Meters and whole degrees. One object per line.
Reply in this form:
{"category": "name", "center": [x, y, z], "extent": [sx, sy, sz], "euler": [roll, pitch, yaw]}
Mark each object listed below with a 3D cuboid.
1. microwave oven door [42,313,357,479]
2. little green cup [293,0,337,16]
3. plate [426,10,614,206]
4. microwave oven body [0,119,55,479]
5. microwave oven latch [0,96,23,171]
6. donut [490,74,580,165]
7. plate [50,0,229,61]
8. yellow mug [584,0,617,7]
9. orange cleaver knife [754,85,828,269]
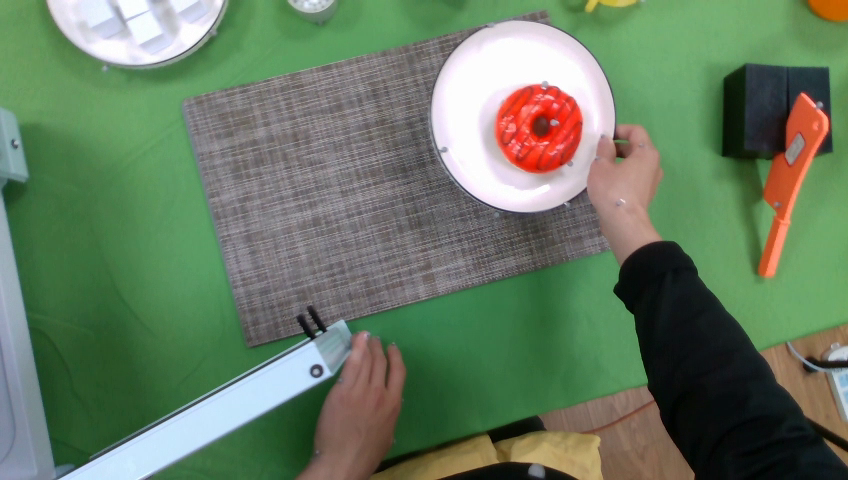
{"category": "microwave oven door", "center": [-0.235, 0.176, 0.565], "extent": [0.356, 0.244, 0.039], "euler": [-29, 88, -4]}
{"category": "little green cup", "center": [-0.129, -0.296, 0.710], "extent": [0.061, 0.038, 0.061], "euler": [0, 87, -2]}
{"category": "plate", "center": [0.103, -0.140, 0.662], "extent": [0.209, 0.038, 0.209], "euler": [0, 90, -8]}
{"category": "microwave oven body", "center": [-0.571, 0.080, 0.558], "extent": [0.326, 0.260, 0.441], "euler": [-12, 89, -4]}
{"category": "microwave oven latch", "center": [-0.468, -0.118, 0.667], "extent": [0.030, 0.029, 0.079], "euler": [-11, 89, -4]}
{"category": "donut", "center": [0.120, -0.129, 0.653], "extent": [0.099, 0.048, 0.099], "euler": [0, 91, -8]}
{"category": "plate", "center": [-0.323, -0.306, 0.701], "extent": [0.208, 0.039, 0.207], "euler": [0, 87, -2]}
{"category": "yellow mug", "center": [0.228, -0.332, 0.713], "extent": [0.100, 0.064, 0.131], "euler": [33, 87, -1]}
{"category": "orange cleaver knife", "center": [0.416, -0.069, 0.704], "extent": [0.012, 0.076, 0.213], "euler": [5, 117, 1]}
